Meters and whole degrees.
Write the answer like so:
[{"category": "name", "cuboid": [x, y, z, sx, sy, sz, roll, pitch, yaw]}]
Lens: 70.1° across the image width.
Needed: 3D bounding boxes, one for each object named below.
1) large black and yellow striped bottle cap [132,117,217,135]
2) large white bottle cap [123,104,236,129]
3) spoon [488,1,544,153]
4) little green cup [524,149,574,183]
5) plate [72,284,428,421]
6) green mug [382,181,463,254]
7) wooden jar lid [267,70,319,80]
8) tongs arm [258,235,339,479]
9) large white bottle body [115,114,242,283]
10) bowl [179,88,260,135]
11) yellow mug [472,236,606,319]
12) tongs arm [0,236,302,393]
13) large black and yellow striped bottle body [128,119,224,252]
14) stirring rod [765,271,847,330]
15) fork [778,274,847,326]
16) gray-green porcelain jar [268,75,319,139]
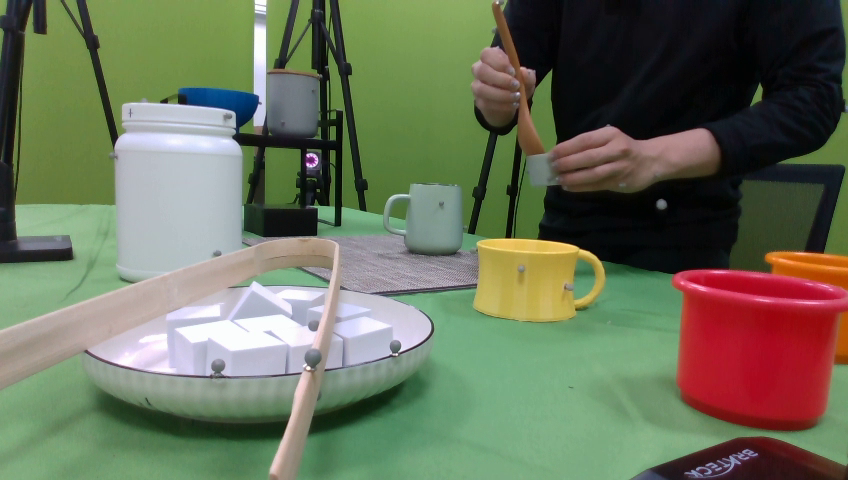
[{"category": "large black and yellow striped bottle cap", "cuboid": [-0.359, -0.164, 0.875, 0.115, 0.019, 0.115, 2, 6, 0]}, {"category": "large white bottle cap", "cuboid": [-0.266, -0.134, 0.663, 0.115, 0.018, 0.115, 3, 7, 0]}, {"category": "spoon", "cuboid": [0.108, -0.184, 0.714, 0.022, 0.194, 0.041, -24, 18, -22]}, {"category": "little green cup", "cuboid": [0.155, -0.091, 0.747, 0.061, 0.038, 0.061, -5, 7, 1]}, {"category": "plate", "cuboid": [-0.102, 0.067, 0.381, 0.208, 0.039, 0.207, 3, 7, 0]}, {"category": "green mug", "cuboid": [-0.001, -0.036, 0.922, 0.126, 0.105, 0.092, 0, 8, -16]}, {"category": "wooden jar lid", "cuboid": [-0.275, -0.339, 1.271, 0.108, 0.020, 0.108, 5, 6, 0]}, {"category": "tongs arm", "cuboid": [-0.074, 0.040, 0.345, 0.051, 0.026, 0.384, -1, 10, -3]}, {"category": "large white bottle body", "cuboid": [-0.270, -0.051, 0.673, 0.131, 0.184, 0.130, 2, 8, 0]}, {"category": "bowl", "cuboid": [-0.400, -0.248, 1.188, 0.151, 0.077, 0.151, 2, 6, 0]}, {"category": "yellow mug", "cuboid": [0.114, 0.034, 0.590, 0.131, 0.064, 0.100, 2, 6, -7]}, {"category": "tongs arm", "cuboid": [-0.157, 0.038, 0.347, 0.028, 0.028, 0.388, -3, 8, 11]}, {"category": "large black and yellow striped bottle body", "cuboid": [-0.361, -0.081, 0.887, 0.131, 0.184, 0.130, 2, 8, 0]}, {"category": "stirring rod", "cuboid": [0.352, 0.020, 0.481, 0.176, 0.006, 0.014, -40, -8, 17]}, {"category": "fork", "cuboid": [0.332, 0.018, 0.443, 0.028, 0.018, 0.207, -3, -35, -16]}, {"category": "gray-green porcelain jar", "cuboid": [-0.277, -0.279, 1.280, 0.106, 0.126, 0.106, 2, 8, 0]}]
